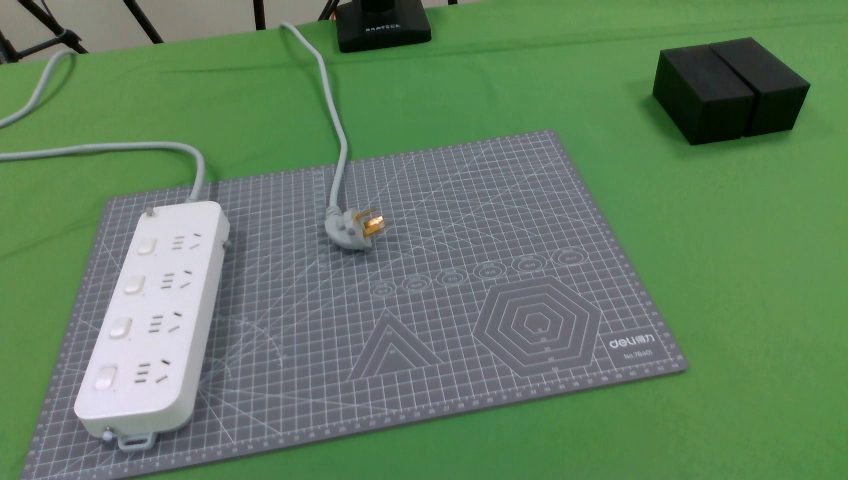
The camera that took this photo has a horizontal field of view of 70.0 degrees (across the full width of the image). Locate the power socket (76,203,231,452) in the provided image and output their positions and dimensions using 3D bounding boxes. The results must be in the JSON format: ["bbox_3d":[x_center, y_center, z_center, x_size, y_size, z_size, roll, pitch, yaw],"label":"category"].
[{"bbox_3d":[-0.199,0.051,0.468,0.072,0.033,0.224,-6,44,-2],"label":"power socket"}]

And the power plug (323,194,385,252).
[{"bbox_3d":[-0.062,-0.023,0.520,0.052,0.035,0.072,-19,63,8],"label":"power plug"}]
